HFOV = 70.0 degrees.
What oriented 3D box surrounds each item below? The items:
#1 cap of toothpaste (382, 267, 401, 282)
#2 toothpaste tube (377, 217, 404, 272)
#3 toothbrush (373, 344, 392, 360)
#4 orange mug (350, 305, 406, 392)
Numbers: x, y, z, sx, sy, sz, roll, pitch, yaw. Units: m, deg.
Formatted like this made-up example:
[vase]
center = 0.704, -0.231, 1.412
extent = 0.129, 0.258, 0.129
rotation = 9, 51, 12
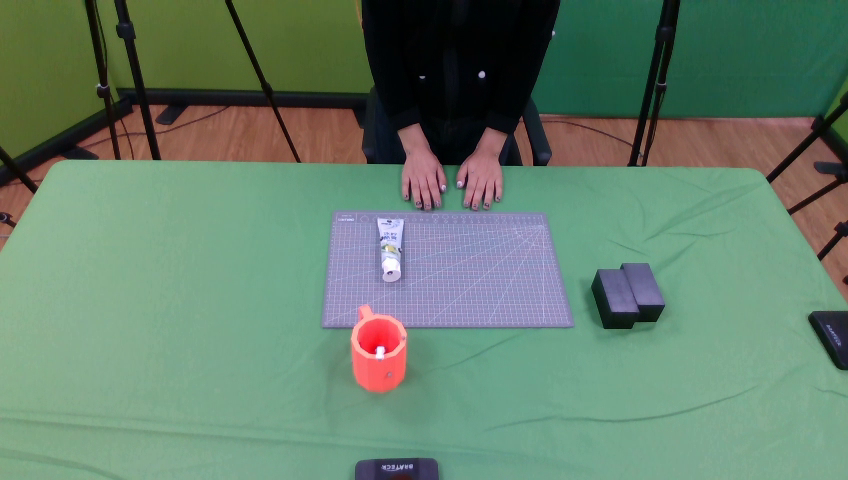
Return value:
[cap of toothpaste]
center = -0.060, 0.063, 1.119
extent = 0.037, 0.037, 0.011
rotation = -9, 50, -12
[toothpaste tube]
center = -0.063, 0.008, 1.179
extent = 0.055, 0.034, 0.164
rotation = 5, 42, -9
[toothbrush]
center = -0.062, 0.167, 0.925
extent = 0.014, 0.182, 0.016
rotation = -19, 83, 0
[orange mug]
center = -0.080, 0.168, 0.978
extent = 0.083, 0.101, 0.125
rotation = -16, 54, -18
